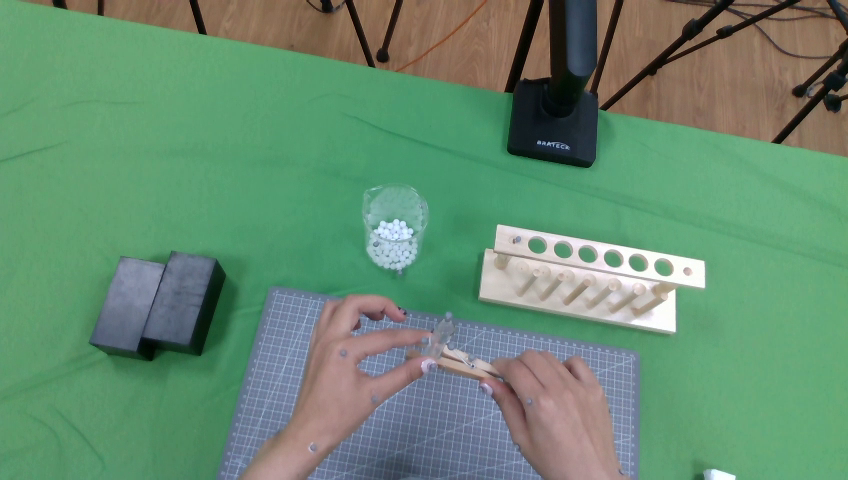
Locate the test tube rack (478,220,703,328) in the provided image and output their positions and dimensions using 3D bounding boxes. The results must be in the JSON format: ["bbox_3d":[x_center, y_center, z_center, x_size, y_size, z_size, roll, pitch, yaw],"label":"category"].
[{"bbox_3d":[0.193,0.043,0.720,0.242,0.085,0.066,10,67,-2],"label":"test tube rack"}]

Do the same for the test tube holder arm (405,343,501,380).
[{"bbox_3d":[0.026,0.108,0.537,0.088,0.015,0.010,15,66,2],"label":"test tube holder arm"}]

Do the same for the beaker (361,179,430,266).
[{"bbox_3d":[-0.038,-0.018,0.712,0.083,0.101,0.074,37,68,11],"label":"beaker"}]

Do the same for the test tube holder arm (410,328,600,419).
[{"bbox_3d":[0.070,0.118,0.536,0.178,0.015,0.013,21,67,5],"label":"test tube holder arm"}]

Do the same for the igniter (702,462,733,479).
[{"bbox_3d":[0.293,0.373,0.626,0.057,0.025,0.275,20,67,-8],"label":"igniter"}]

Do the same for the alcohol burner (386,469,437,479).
[{"bbox_3d":[-0.011,0.263,0.589,0.078,0.120,0.077,3,65,-6],"label":"alcohol burner"}]

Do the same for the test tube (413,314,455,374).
[{"bbox_3d":[0.006,0.096,0.538,0.017,0.151,0.017,4,64,-7],"label":"test tube"}]
